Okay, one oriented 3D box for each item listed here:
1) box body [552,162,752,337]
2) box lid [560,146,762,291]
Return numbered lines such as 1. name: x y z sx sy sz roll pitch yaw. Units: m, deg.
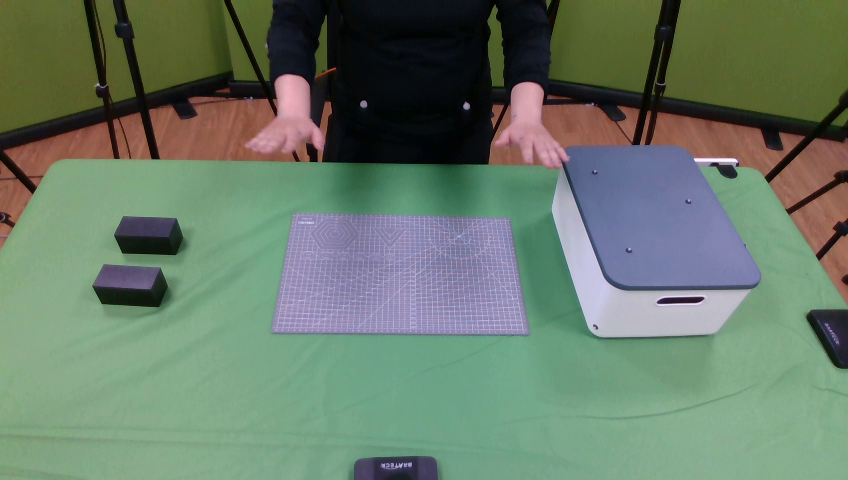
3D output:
1. box body: 0.401 -0.001 1.131 0.254 0.161 0.361 -1 46 -5
2. box lid: 0.404 -0.052 1.076 0.263 0.015 0.369 -1 45 -5
